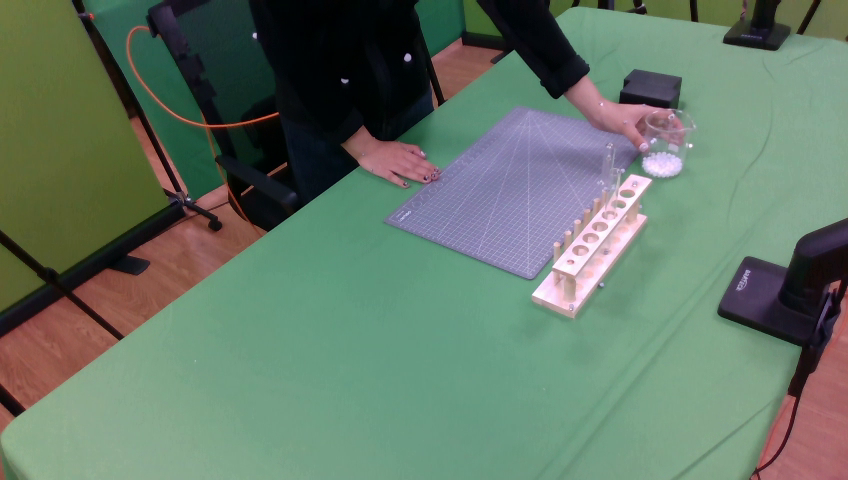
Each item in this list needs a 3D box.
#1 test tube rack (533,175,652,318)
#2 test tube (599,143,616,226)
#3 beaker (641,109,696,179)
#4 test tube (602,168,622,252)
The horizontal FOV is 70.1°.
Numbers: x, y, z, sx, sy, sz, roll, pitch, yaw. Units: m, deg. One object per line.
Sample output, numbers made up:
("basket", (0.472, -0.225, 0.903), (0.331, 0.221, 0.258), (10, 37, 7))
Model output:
("test tube rack", (0.250, -0.001, 0.889), (0.066, 0.085, 0.243), (23, 49, 32))
("test tube", (0.273, -0.081, 0.909), (0.017, 0.151, 0.017), (-4, 42, 4))
("beaker", (0.415, -0.161, 1.035), (0.083, 0.101, 0.074), (19, 49, 29))
("test tube", (0.264, -0.039, 0.854), (0.017, 0.151, 0.017), (-5, 44, 6))
